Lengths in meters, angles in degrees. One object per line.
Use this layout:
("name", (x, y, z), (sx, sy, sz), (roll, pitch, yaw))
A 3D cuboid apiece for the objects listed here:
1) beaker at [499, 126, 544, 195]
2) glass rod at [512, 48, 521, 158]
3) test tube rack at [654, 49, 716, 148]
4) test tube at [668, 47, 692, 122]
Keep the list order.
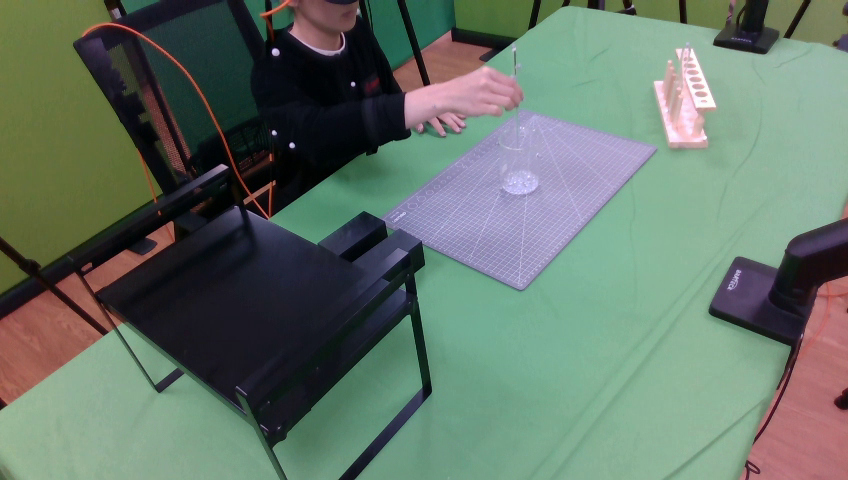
("beaker", (0.170, -0.136, 1.045), (0.073, 0.101, 0.084), (12, 44, 21))
("glass rod", (0.150, -0.216, 0.977), (0.008, 0.201, 0.008), (-6, 43, 6))
("test tube rack", (0.502, -0.281, 1.176), (0.066, 0.085, 0.241), (1, 41, 11))
("test tube", (0.472, -0.285, 1.117), (0.017, 0.151, 0.017), (-4, 44, 4))
